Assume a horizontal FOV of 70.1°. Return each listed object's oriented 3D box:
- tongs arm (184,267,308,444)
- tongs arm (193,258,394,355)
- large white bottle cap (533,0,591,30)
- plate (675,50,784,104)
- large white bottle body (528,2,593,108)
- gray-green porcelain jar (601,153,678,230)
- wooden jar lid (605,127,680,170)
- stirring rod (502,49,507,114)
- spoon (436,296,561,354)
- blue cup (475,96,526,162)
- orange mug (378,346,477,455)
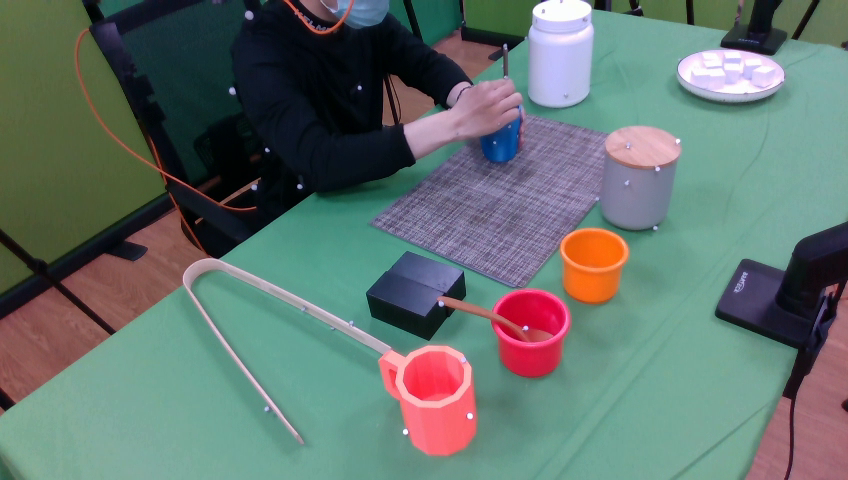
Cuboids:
[{"bbox_3d":[-0.259,0.148,0.843,0.028,0.028,0.384,-38,49,-18],"label":"tongs arm"},{"bbox_3d":[-0.204,0.099,0.881,0.382,0.027,0.051,23,55,32],"label":"tongs arm"},{"bbox_3d":[0.274,-0.450,1.204,0.115,0.018,0.114,-4,41,4],"label":"large white bottle cap"},{"bbox_3d":[0.632,-0.336,1.262,0.207,0.039,0.206,-4,41,4],"label":"plate"},{"bbox_3d":[0.283,-0.386,1.259,0.130,0.185,0.130,-5,41,4],"label":"large white bottle body"},{"bbox_3d":[0.334,-0.087,0.949,0.106,0.127,0.105,-4,40,4],"label":"gray-green porcelain jar"},{"bbox_3d":[0.327,-0.134,0.909,0.108,0.021,0.108,-2,43,2],"label":"wooden jar lid"},{"bbox_3d":[0.143,-0.249,1.069,0.006,0.177,0.014,7,38,16],"label":"stirring rod"},{"bbox_3d":[0.095,0.102,0.750,0.195,0.021,0.041,28,31,-28],"label":"spoon"},{"bbox_3d":[0.141,-0.204,1.133,0.092,0.100,0.092,-4,39,4],"label":"blue cup"},{"bbox_3d":[0.002,0.179,0.708,0.125,0.101,0.083,25,50,27],"label":"orange mug"}]
